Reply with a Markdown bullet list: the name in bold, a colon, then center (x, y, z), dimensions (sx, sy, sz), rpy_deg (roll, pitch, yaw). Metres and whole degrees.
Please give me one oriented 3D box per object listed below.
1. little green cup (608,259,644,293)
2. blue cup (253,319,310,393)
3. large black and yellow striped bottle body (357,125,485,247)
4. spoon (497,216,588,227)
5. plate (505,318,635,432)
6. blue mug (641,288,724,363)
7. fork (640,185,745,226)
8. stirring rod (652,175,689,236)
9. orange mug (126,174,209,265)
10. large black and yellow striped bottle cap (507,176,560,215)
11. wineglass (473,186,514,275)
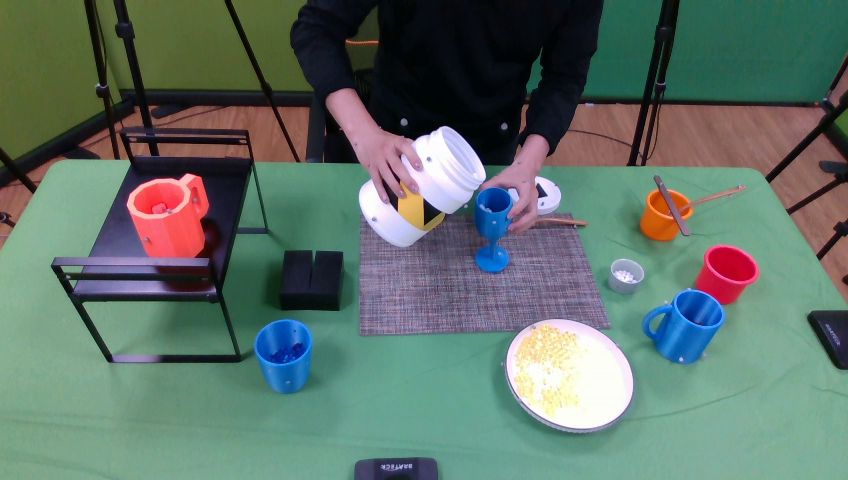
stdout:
- **little green cup**: center (0.379, 0.070, 1.147), dimensions (0.061, 0.039, 0.061), rpy_deg (3, 45, -3)
- **blue cup**: center (-0.217, 0.187, 0.943), dimensions (0.093, 0.101, 0.092), rpy_deg (4, 45, -3)
- **large black and yellow striped bottle body**: center (-0.004, -0.089, 0.989), dimensions (0.131, 0.184, 0.130), rpy_deg (40, 28, -26)
- **spoon**: center (0.245, -0.039, 1.247), dimensions (0.194, 0.022, 0.041), rpy_deg (-1, 26, -6)
- **plate**: center (0.235, 0.221, 0.991), dimensions (0.209, 0.038, 0.208), rpy_deg (2, 46, -2)
- **blue mug**: center (0.432, 0.144, 1.033), dimensions (0.116, 0.106, 0.082), rpy_deg (8, 46, 4)
- **fork**: center (0.534, -0.069, 1.215), dimensions (0.207, 0.019, 0.028), rpy_deg (-26, 27, 33)
- **stirring rod**: center (0.492, -0.072, 1.211), dimensions (0.014, 0.006, 0.175), rpy_deg (-1, 46, -6)
- **orange mug**: center (-0.371, -0.039, 0.902), dimensions (0.083, 0.101, 0.126), rpy_deg (18, 51, 14)
- **large black and yellow striped bottle cap**: center (0.237, -0.098, 1.312), dimensions (0.115, 0.019, 0.114), rpy_deg (2, 43, -1)
- **wineglass**: center (0.126, -0.017, 1.106), dimensions (0.074, 0.173, 0.073), rpy_deg (-2, 52, 3)
